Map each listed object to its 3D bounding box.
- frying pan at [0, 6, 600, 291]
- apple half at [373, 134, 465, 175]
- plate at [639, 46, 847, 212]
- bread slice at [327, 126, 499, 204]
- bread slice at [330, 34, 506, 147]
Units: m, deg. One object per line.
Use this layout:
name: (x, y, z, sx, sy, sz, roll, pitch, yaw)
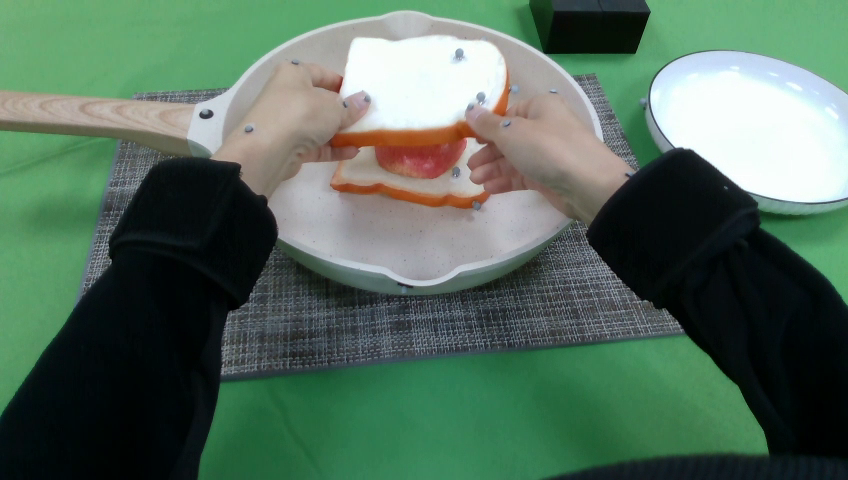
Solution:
frying pan: (-0.115, -0.085, 0.466, 0.489, 0.103, 0.303, 5, 51, -10)
apple half: (-0.006, -0.090, 0.499, 0.081, 0.033, 0.080, 0, 53, 1)
plate: (0.297, -0.101, 0.552, 0.208, 0.039, 0.205, 2, 52, -2)
bread slice: (-0.004, -0.076, 0.516, 0.134, 0.018, 0.106, 8, 53, 3)
bread slice: (-0.003, -0.119, 0.465, 0.131, 0.019, 0.104, -2, 58, 12)
